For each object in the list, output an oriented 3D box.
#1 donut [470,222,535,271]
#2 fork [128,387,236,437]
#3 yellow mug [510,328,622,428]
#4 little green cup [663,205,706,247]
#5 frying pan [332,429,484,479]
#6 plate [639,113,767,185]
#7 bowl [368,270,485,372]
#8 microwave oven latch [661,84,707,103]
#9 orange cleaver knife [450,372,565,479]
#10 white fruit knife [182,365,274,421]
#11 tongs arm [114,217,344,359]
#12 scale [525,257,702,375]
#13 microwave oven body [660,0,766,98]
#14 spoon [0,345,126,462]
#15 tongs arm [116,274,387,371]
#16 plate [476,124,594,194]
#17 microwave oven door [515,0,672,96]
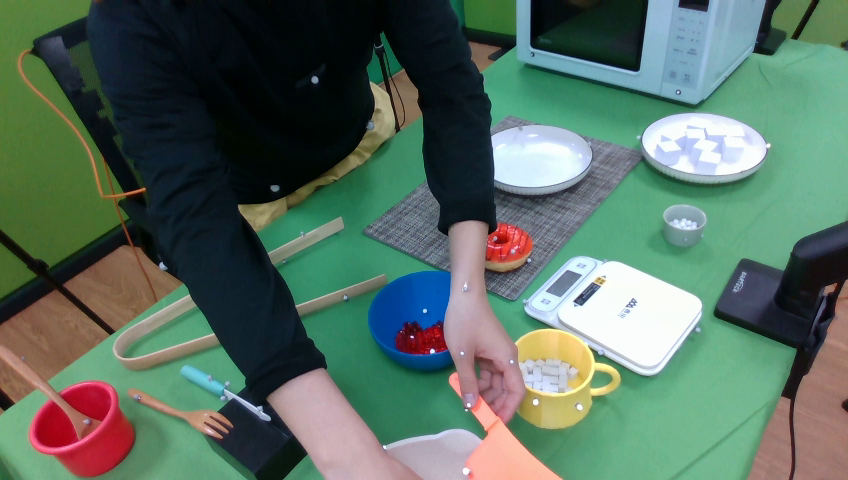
[{"bbox_3d":[0.119,0.009,0.923,0.099,0.048,0.098,-4,38,3],"label":"donut"},{"bbox_3d":[-0.305,0.207,0.744,0.206,0.019,0.028,3,40,36],"label":"fork"},{"bbox_3d":[0.169,0.163,0.722,0.130,0.064,0.099,0,41,8],"label":"yellow mug"},{"bbox_3d":[0.396,-0.020,0.926,0.061,0.039,0.061,-4,40,4],"label":"little green cup"},{"bbox_3d":[-0.089,0.306,0.564,0.487,0.103,0.306,10,41,8],"label":"frying pan"},{"bbox_3d":[0.489,-0.157,1.074,0.207,0.039,0.206,-4,40,4],"label":"plate"},{"bbox_3d":[0.007,0.119,0.791,0.151,0.077,0.150,-4,40,4],"label":"bowl"},{"bbox_3d":[0.517,-0.296,1.204,0.078,0.029,0.030,27,52,35],"label":"microwave oven latch"},{"bbox_3d":[0.079,0.220,0.609,0.077,0.012,0.209,-42,51,-6],"label":"orange cleaver knife"},{"bbox_3d":[-0.245,0.188,0.747,0.205,0.027,0.016,9,41,41],"label":"white fruit knife"},{"bbox_3d":[-0.280,0.067,0.927,0.386,0.026,0.050,-29,50,-23],"label":"tongs arm"},{"bbox_3d":[0.254,0.091,0.821,0.199,0.032,0.149,28,51,35],"label":"scale"},{"bbox_3d":[0.472,-0.513,1.317,0.438,0.261,0.327,26,51,34],"label":"microwave oven body"},{"bbox_3d":[-0.434,0.192,0.720,0.194,0.021,0.042,47,53,-7],"label":"spoon"},{"bbox_3d":[-0.236,0.116,0.871,0.389,0.028,0.028,-18,50,-13],"label":"tongs arm"},{"bbox_3d":[0.199,-0.142,1.093,0.209,0.038,0.208,-4,40,4],"label":"plate"},{"bbox_3d":[0.343,-0.454,1.259,0.353,0.245,0.039,26,51,33],"label":"microwave oven door"}]
